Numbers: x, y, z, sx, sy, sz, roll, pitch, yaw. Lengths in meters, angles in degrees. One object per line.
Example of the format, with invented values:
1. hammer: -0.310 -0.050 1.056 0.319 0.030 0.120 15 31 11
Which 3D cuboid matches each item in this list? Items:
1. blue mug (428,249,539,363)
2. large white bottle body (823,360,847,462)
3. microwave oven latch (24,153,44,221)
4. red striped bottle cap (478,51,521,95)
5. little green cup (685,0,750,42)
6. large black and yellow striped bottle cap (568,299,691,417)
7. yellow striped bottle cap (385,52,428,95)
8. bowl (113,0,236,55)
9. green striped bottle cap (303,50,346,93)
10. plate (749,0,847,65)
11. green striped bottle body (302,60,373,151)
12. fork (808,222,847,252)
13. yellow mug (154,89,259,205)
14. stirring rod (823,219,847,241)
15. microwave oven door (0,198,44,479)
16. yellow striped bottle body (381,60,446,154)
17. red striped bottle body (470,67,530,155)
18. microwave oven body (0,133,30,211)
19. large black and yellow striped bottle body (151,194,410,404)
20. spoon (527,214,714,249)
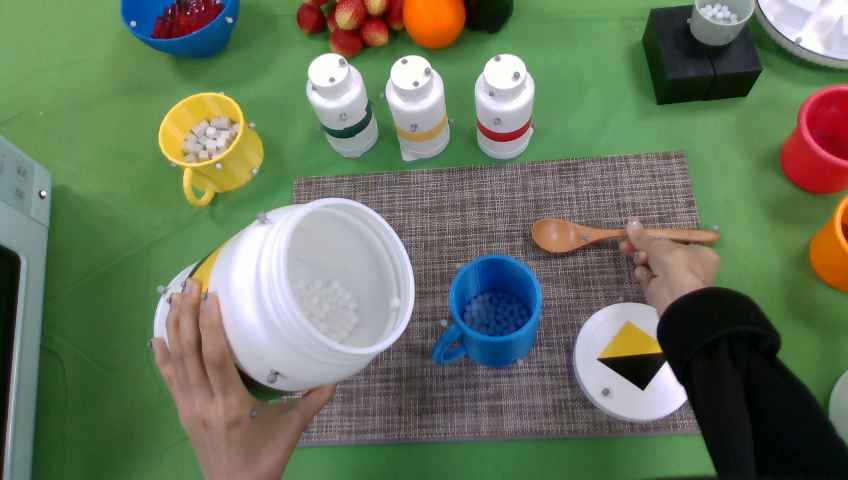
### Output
1. blue mug: 0.052 0.076 0.576 0.116 0.107 0.081 -36 67 -8
2. large white bottle body: 0.423 0.132 0.473 0.130 0.186 0.129 -2 67 6
3. microwave oven latch: -0.466 -0.060 0.709 0.030 0.030 0.078 -11 68 1
4. red striped bottle cap: 0.077 -0.170 0.613 0.044 0.018 0.044 -1 66 2
5. little green cup: 0.320 -0.251 0.666 0.061 0.039 0.061 -2 66 4
6. large black and yellow striped bottle cap: 0.200 0.114 0.593 0.115 0.019 0.114 -2 66 5
7. yellow striped bottle cap: -0.018 -0.172 0.624 0.044 0.019 0.044 -1 65 2
8. bowl: -0.308 -0.296 0.786 0.151 0.077 0.150 -2 68 5
9. green striped bottle cap: -0.105 -0.177 0.636 0.044 0.020 0.044 -1 67 3
10. plate: 0.488 -0.289 0.719 0.209 0.038 0.207 -2 68 5
11. green striped bottle body: -0.097 -0.157 0.684 0.063 0.120 0.062 -2 67 5
12. fork: 0.444 0.016 0.537 0.028 0.019 0.205 -30 23 -14
13. yellow mug: -0.257 -0.103 0.709 0.100 0.064 0.130 6 69 8
14. stirring rod: 0.415 0.016 0.549 0.014 0.006 0.175 -1 24 3
15. microwave oven door: -0.439 0.098 0.531 0.039 0.246 0.353 -12 67 2
16. yellow striped bottle body: -0.011 -0.152 0.672 0.063 0.121 0.062 -2 67 6
17. red striped bottle body: 0.082 -0.149 0.661 0.063 0.120 0.062 -2 67 6
18. microwave oven body: -0.589 0.092 0.555 0.326 0.262 0.438 -12 68 1
19. large black and yellow striped bottle body: -0.109 0.047 0.459 0.183 0.132 0.130 -25 58 42
20. spoon: 0.207 -0.009 0.639 0.193 0.022 0.041 0 59 7
